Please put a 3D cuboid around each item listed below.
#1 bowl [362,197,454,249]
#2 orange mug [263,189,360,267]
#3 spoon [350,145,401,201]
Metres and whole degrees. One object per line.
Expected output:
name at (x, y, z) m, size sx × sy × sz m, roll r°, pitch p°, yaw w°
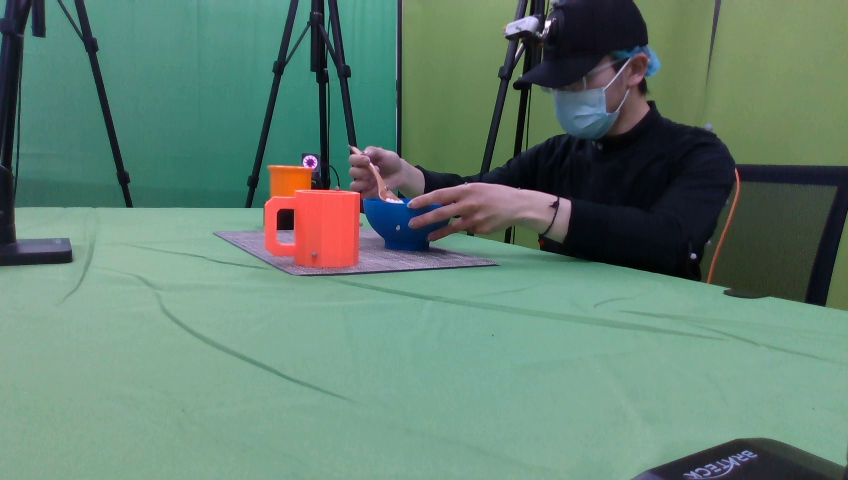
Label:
bowl at (-0.027, -0.028, 0.985) m, size 0.151 × 0.077 × 0.151 m, roll 2°, pitch 7°, yaw 0°
orange mug at (-0.147, -0.019, 0.794) m, size 0.127 × 0.100 × 0.083 m, roll 5°, pitch 6°, yaw -19°
spoon at (-0.084, -0.112, 1.028) m, size 0.042 × 0.021 × 0.193 m, roll 5°, pitch 38°, yaw -37°
